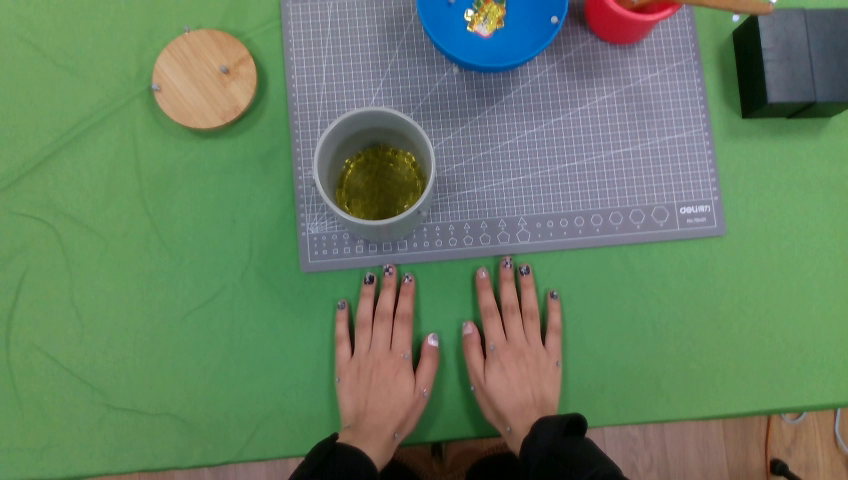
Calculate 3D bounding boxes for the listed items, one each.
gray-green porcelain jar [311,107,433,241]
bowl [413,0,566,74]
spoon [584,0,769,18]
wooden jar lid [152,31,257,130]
[{"bbox_3d":[-0.045,-0.055,0.579,0.106,0.127,0.105,0,83,-1],"label":"gray-green porcelain jar"},{"bbox_3d":[0.063,-0.234,0.626,0.151,0.077,0.151,0,83,-1],"label":"bowl"},{"bbox_3d":[0.240,-0.233,0.597,0.192,0.022,0.041,29,85,47],"label":"spoon"},{"bbox_3d":[-0.231,-0.167,0.643,0.108,0.021,0.108,0,83,-1],"label":"wooden jar lid"}]
